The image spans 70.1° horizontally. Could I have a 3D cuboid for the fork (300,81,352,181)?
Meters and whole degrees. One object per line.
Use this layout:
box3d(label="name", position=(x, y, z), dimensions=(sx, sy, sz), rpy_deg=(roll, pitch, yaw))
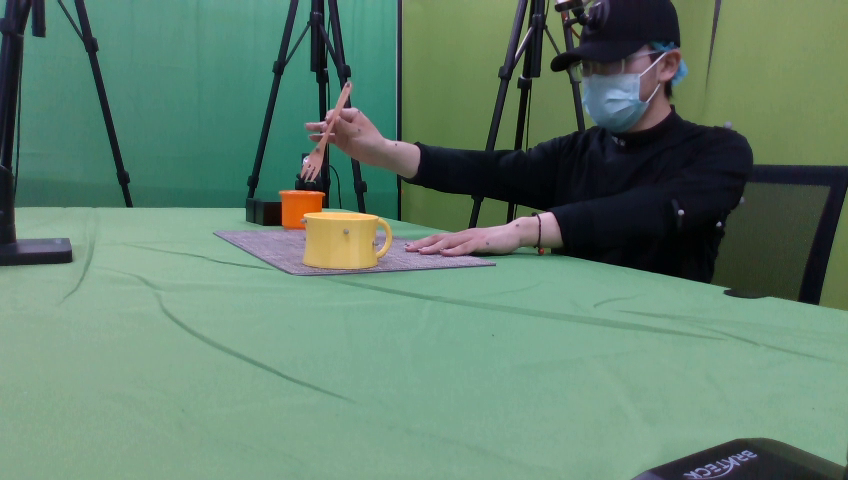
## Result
box3d(label="fork", position=(-0.169, -0.194, 1.062), dimensions=(0.028, 0.207, 0.018), rpy_deg=(23, -15, -8))

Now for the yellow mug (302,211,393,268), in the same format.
box3d(label="yellow mug", position=(-0.098, -0.003, 0.810), dimensions=(0.131, 0.064, 0.099), rpy_deg=(-2, 8, -37))
